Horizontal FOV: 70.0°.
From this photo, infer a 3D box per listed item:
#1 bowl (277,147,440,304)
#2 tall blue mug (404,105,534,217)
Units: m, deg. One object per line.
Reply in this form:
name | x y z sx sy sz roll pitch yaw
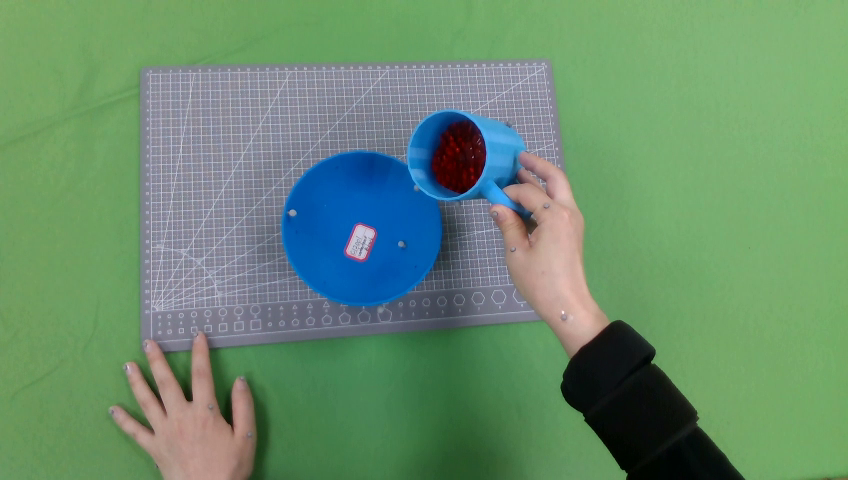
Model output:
bowl | -0.064 -0.008 0.598 0.152 0.077 0.150 2 79 -8
tall blue mug | 0.054 -0.071 0.544 0.106 0.108 0.078 20 103 23
